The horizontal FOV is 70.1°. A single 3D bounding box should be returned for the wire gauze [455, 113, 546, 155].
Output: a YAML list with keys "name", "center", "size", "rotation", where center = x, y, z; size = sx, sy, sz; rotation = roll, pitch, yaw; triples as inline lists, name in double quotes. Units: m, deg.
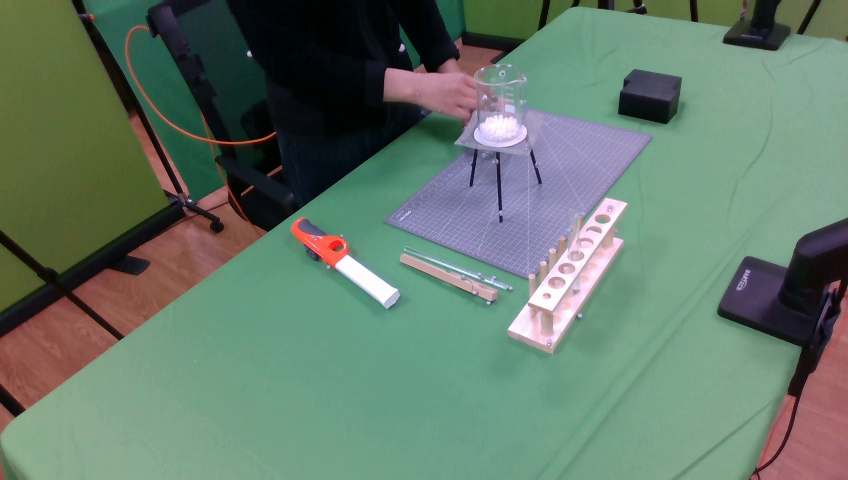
- name: "wire gauze"
  center: [0.124, -0.175, 0.973]
  size: [0.124, 0.011, 0.121]
  rotation: [8, 39, 21]

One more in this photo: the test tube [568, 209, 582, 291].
- name: "test tube"
  center: [0.200, 0.017, 0.799]
  size: [0.017, 0.151, 0.017]
  rotation: [-8, 45, 8]

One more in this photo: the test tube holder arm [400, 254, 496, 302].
- name: "test tube holder arm"
  center: [0.032, 0.055, 0.915]
  size: [0.177, 0.015, 0.013]
  rotation: [21, 15, 33]

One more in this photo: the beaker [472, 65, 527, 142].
- name: "beaker"
  center: [0.120, -0.211, 0.942]
  size: [0.083, 0.101, 0.074]
  rotation: [10, 42, 22]

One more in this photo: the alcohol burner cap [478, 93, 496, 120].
- name: "alcohol burner cap"
  center: [0.116, -0.248, 1.114]
  size: [0.034, 0.048, 0.033]
  rotation: [-4, 45, 4]

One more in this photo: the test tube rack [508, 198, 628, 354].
- name: "test tube rack"
  center: [0.206, 0.039, 0.850]
  size: [0.066, 0.085, 0.243]
  rotation: [20, 48, 31]

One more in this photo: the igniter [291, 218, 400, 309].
- name: "igniter"
  center: [-0.135, 0.031, 0.970]
  size: [0.057, 0.025, 0.274]
  rotation: [-41, 49, -19]

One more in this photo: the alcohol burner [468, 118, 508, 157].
- name: "alcohol burner"
  center: [0.120, -0.218, 1.143]
  size: [0.078, 0.119, 0.077]
  rotation: [-4, 42, 4]

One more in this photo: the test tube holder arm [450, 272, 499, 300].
- name: "test tube holder arm"
  center: [0.071, 0.068, 0.895]
  size: [0.087, 0.015, 0.010]
  rotation: [21, 16, 33]

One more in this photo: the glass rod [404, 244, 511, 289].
- name: "glass rod"
  center: [0.047, 0.039, 0.939]
  size: [0.198, 0.008, 0.008]
  rotation: [21, 49, 31]

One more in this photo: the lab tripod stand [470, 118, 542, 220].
- name: "lab tripod stand"
  center: [0.135, -0.129, 1.019]
  size: [0.148, 0.132, 0.147]
  rotation: [-5, 38, 5]
